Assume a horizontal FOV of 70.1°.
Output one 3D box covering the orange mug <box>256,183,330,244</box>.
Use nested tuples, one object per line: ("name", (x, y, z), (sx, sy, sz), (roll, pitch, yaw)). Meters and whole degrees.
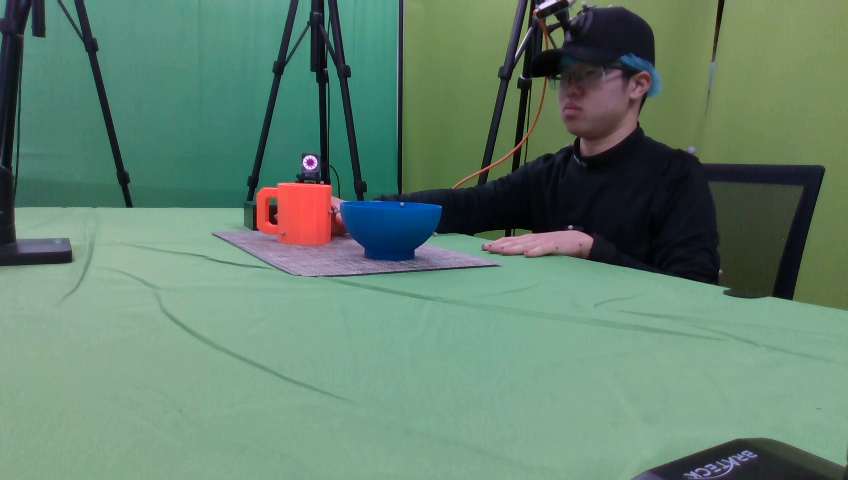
("orange mug", (-0.216, -0.048, 0.999), (0.126, 0.100, 0.083), (8, 8, 8))

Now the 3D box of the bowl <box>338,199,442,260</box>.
("bowl", (-0.050, -0.015, 0.878), (0.151, 0.077, 0.151), (2, 8, 0))
